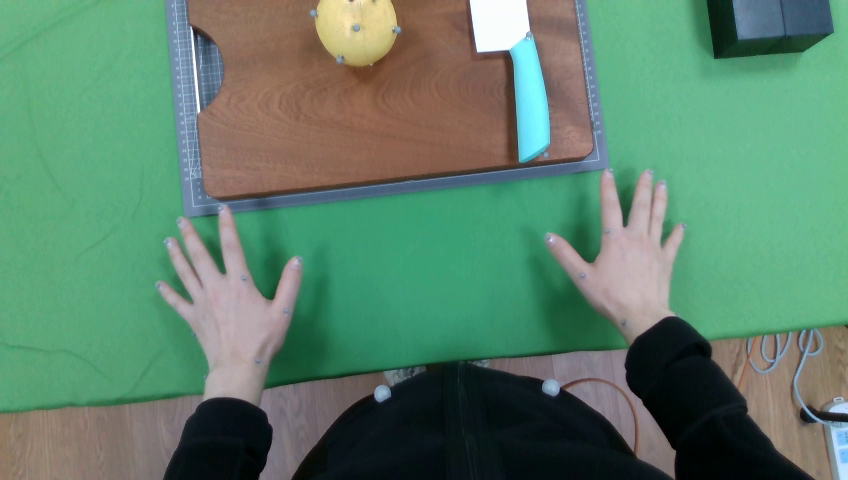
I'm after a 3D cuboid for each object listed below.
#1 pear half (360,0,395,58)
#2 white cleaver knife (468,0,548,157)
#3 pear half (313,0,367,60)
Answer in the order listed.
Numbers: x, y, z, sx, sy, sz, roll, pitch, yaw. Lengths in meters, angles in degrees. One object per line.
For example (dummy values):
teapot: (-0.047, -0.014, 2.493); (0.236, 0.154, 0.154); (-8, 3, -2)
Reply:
pear half: (-0.044, -0.215, 0.581); (0.031, 0.088, 0.070); (-3, 80, -2)
white cleaver knife: (0.080, -0.223, 0.623); (0.066, 0.021, 0.285); (-7, 81, 3)
pear half: (-0.078, -0.216, 0.570); (0.056, 0.110, 0.076); (-4, 81, -1)
